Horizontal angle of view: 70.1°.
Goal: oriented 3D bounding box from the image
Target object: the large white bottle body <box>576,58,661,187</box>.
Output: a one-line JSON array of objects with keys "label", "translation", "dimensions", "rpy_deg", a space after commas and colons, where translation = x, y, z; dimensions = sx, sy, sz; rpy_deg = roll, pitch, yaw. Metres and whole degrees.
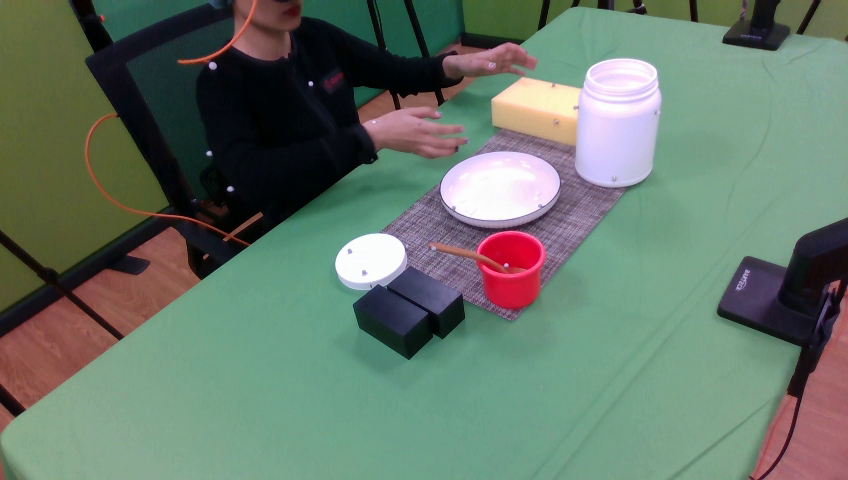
[{"label": "large white bottle body", "translation": [0.326, -0.197, 1.021], "dimensions": [0.130, 0.185, 0.130], "rpy_deg": [-5, 40, 5]}]

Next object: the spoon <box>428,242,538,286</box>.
[{"label": "spoon", "translation": [0.084, 0.030, 0.831], "dimensions": [0.195, 0.021, 0.041], "rpy_deg": [22, 26, -34]}]

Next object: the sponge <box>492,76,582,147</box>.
[{"label": "sponge", "translation": [0.254, -0.259, 1.207], "dimensions": [0.205, 0.061, 0.118], "rpy_deg": [22, 47, 31]}]

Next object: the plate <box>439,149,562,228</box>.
[{"label": "plate", "translation": [0.131, -0.085, 1.040], "dimensions": [0.209, 0.038, 0.208], "rpy_deg": [-5, 40, 5]}]

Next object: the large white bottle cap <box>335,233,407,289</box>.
[{"label": "large white bottle cap", "translation": [-0.085, 0.032, 0.961], "dimensions": [0.115, 0.018, 0.114], "rpy_deg": [-6, 42, 6]}]
